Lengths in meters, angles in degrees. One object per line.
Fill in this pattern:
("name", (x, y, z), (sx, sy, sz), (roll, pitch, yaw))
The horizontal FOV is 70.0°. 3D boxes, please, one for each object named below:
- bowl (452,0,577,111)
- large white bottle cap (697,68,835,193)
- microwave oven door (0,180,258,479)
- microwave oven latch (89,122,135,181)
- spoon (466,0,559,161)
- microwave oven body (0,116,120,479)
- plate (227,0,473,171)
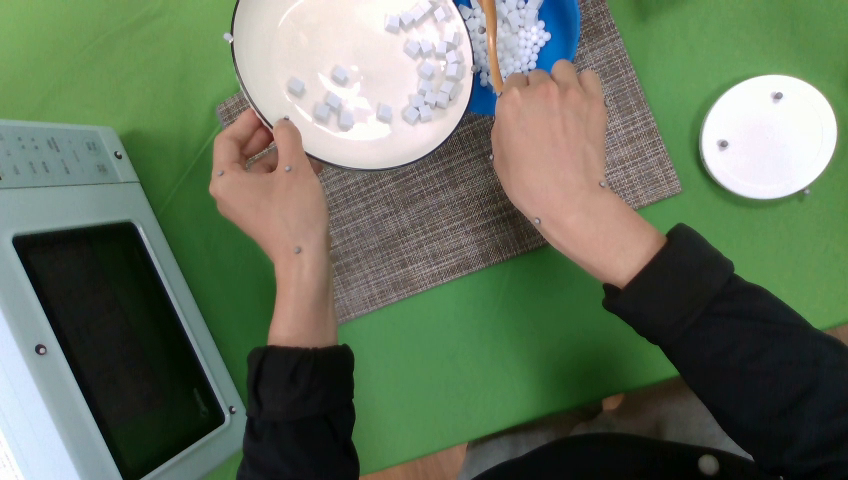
("bowl", (0.075, -0.199, 0.589), (0.151, 0.077, 0.151), (3, 100, 17))
("large white bottle cap", (0.318, -0.101, 0.567), (0.114, 0.018, 0.115), (2, 99, 16))
("microwave oven door", (-0.332, 0.106, 0.661), (0.039, 0.244, 0.355), (-25, 90, 19))
("microwave oven latch", (-0.393, -0.107, 0.753), (0.030, 0.029, 0.079), (-24, 92, 18))
("spoon", (0.066, -0.148, 0.505), (0.021, 0.042, 0.192), (-19, 76, -2))
("microwave oven body", (-0.474, 0.126, 0.713), (0.326, 0.260, 0.441), (-25, 91, 18))
("plate", (-0.060, -0.158, 0.525), (0.210, 0.038, 0.208), (3, 82, -19))
